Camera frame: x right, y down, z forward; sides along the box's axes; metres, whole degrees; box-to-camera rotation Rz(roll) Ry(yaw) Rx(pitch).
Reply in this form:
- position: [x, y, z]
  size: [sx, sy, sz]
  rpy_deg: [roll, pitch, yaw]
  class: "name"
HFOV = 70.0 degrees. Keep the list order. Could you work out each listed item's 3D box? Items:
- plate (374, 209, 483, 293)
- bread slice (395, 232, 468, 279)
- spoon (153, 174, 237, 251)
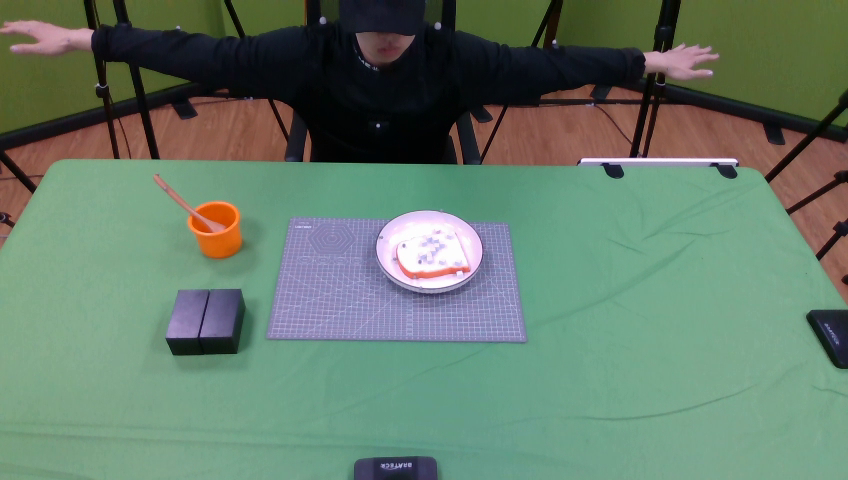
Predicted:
- position: [0.009, 0.024, 1.160]
  size: [0.209, 0.038, 0.208]
  rpy_deg: [2, 46, -2]
  class: "plate"
- position: [0.011, 0.030, 1.158]
  size: [0.132, 0.019, 0.104]
  rpy_deg: [-8, 47, -14]
  class: "bread slice"
- position: [-0.422, -0.050, 1.117]
  size: [0.194, 0.021, 0.041]
  rpy_deg: [43, 43, -19]
  class: "spoon"
